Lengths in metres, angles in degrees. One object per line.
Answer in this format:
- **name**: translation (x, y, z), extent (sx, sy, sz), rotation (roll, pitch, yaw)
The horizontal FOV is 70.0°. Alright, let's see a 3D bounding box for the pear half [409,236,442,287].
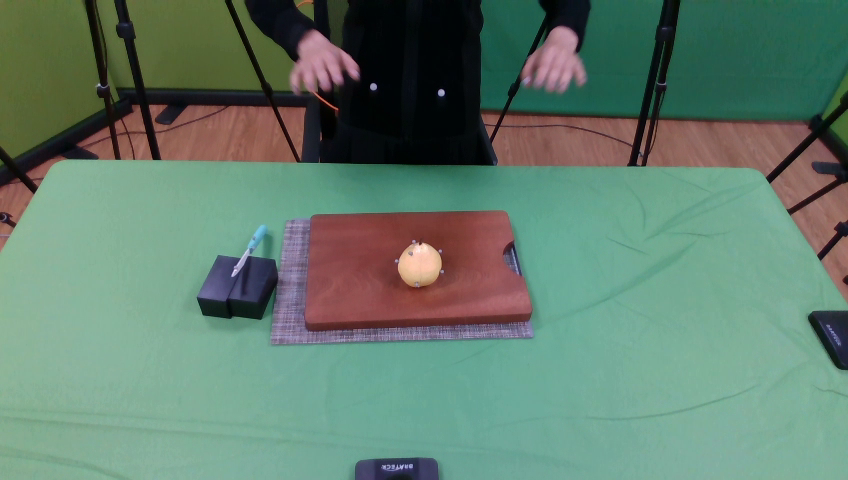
- **pear half**: translation (0.004, 0.029, 1.070), extent (0.056, 0.110, 0.076), rotation (-17, 53, -20)

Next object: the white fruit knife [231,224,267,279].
- **white fruit knife**: translation (-0.318, 0.018, 1.104), extent (0.016, 0.027, 0.206), rotation (10, 25, -4)

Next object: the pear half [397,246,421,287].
- **pear half**: translation (-0.029, 0.046, 1.066), extent (0.031, 0.088, 0.070), rotation (-18, 55, -20)
